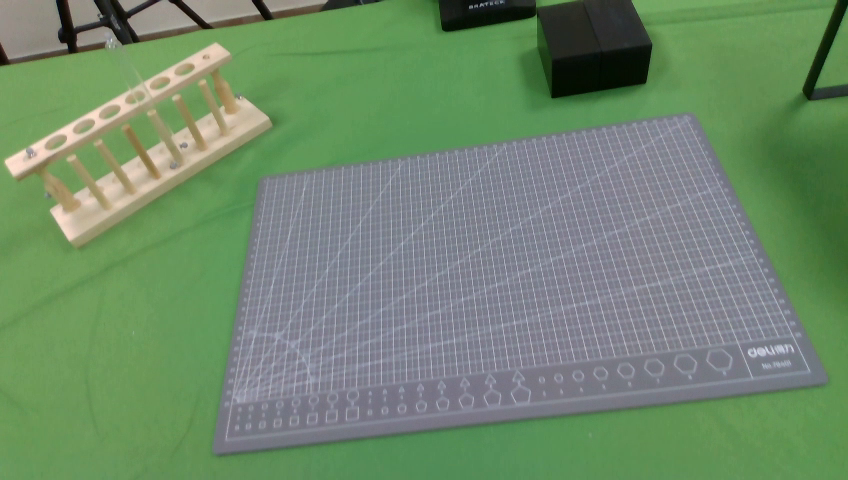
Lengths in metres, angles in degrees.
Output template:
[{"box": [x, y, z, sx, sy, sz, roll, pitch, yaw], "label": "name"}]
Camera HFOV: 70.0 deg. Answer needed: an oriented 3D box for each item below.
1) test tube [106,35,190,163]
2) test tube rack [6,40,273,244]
[{"box": [-0.272, -0.136, 0.603, 0.017, 0.152, 0.017, -5, 50, 6], "label": "test tube"}, {"box": [-0.290, -0.108, 0.643, 0.242, 0.086, 0.066, -38, 55, -19], "label": "test tube rack"}]
